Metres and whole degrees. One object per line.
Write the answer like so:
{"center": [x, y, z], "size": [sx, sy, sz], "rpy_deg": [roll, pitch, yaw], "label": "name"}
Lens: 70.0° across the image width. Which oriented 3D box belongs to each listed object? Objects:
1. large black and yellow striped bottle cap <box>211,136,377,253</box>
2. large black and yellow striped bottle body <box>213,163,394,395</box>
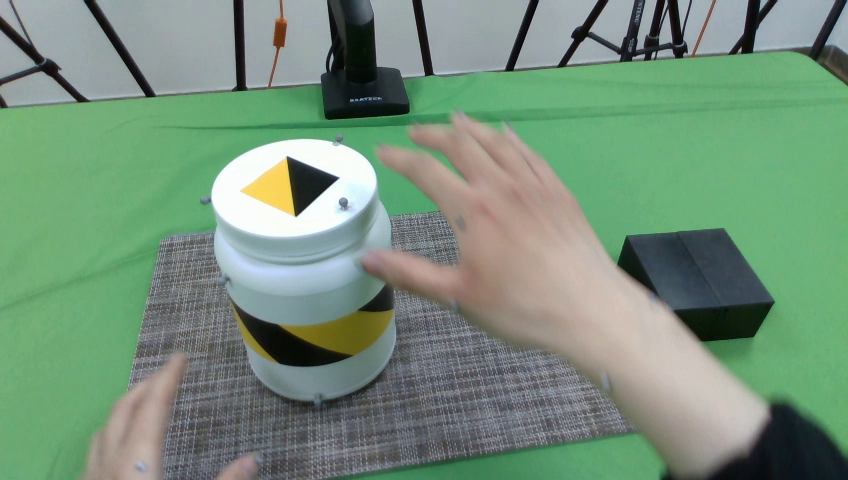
{"center": [-0.091, -0.036, 0.432], "size": [0.115, 0.019, 0.114], "rpy_deg": [0, 43, 0], "label": "large black and yellow striped bottle cap"}
{"center": [-0.092, 0.024, 0.491], "size": [0.131, 0.185, 0.129], "rpy_deg": [0, 43, 0], "label": "large black and yellow striped bottle body"}
